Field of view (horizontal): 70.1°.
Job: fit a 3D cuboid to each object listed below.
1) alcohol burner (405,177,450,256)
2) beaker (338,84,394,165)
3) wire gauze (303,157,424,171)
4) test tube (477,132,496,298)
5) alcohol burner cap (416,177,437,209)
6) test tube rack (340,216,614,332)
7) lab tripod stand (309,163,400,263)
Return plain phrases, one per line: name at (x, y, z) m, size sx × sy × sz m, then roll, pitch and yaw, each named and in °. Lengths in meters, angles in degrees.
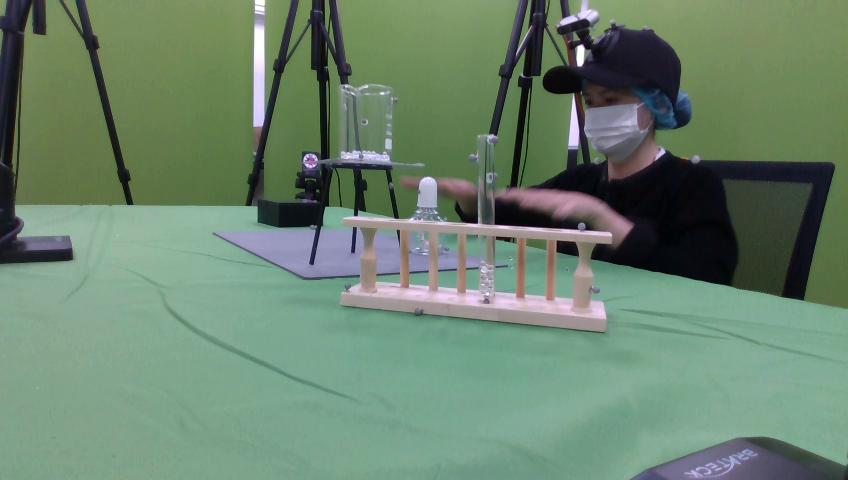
alcohol burner at (0.004, -0.036, 0.917) m, size 0.078 × 0.119 × 0.078 m, roll 3°, pitch 6°, yaw 0°
beaker at (-0.077, -0.149, 0.792) m, size 0.074 × 0.100 × 0.084 m, roll 2°, pitch 6°, yaw 9°
wire gauze at (-0.082, -0.101, 0.799) m, size 0.126 × 0.011 × 0.121 m, roll 1°, pitch 7°, yaw -30°
test tube at (0.056, -0.020, 0.540) m, size 0.017 × 0.150 × 0.017 m, roll -1°, pitch 11°, yaw 1°
alcohol burner cap at (0.005, -0.072, 0.914) m, size 0.034 × 0.048 × 0.034 m, roll 4°, pitch 10°, yaw 0°
test tube rack at (0.048, 0.026, 0.568) m, size 0.242 × 0.085 × 0.067 m, roll 4°, pitch 7°, yaw 13°
lab tripod stand at (-0.091, -0.037, 0.813) m, size 0.148 × 0.131 × 0.148 m, roll 1°, pitch 6°, yaw 0°
